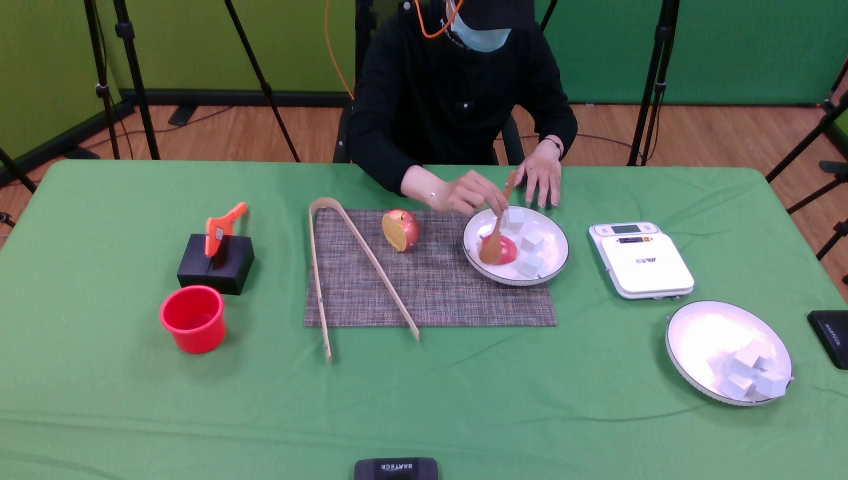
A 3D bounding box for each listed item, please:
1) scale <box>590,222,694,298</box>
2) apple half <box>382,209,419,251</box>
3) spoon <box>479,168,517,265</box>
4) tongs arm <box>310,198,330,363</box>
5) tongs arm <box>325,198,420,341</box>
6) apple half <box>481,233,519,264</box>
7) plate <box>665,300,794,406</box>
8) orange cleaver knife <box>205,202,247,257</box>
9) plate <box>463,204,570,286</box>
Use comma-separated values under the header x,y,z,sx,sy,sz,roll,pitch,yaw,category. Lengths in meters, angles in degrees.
x,y,z,sx,sy,sz,roll,pitch,yaw,category
0.424,0.031,1.189,0.149,0.032,0.199,-3,46,-7,scale
-0.039,-0.022,1.175,0.053,0.075,0.080,-27,50,-31,apple half
0.137,-0.039,1.098,0.041,0.194,0.021,12,21,1,spoon
-0.180,0.059,1.117,0.051,0.026,0.382,-9,46,-11,tongs arm
-0.101,0.043,1.140,0.028,0.028,0.385,-22,51,-18,tongs arm
0.147,0.010,1.174,0.081,0.033,0.081,0,46,1,apple half
0.513,0.194,1.033,0.208,0.039,0.206,2,46,-2,plate
-0.374,-0.023,1.151,0.012,0.077,0.210,4,16,1,orange cleaver knife
0.177,0.013,1.180,0.209,0.038,0.208,2,46,-2,plate
